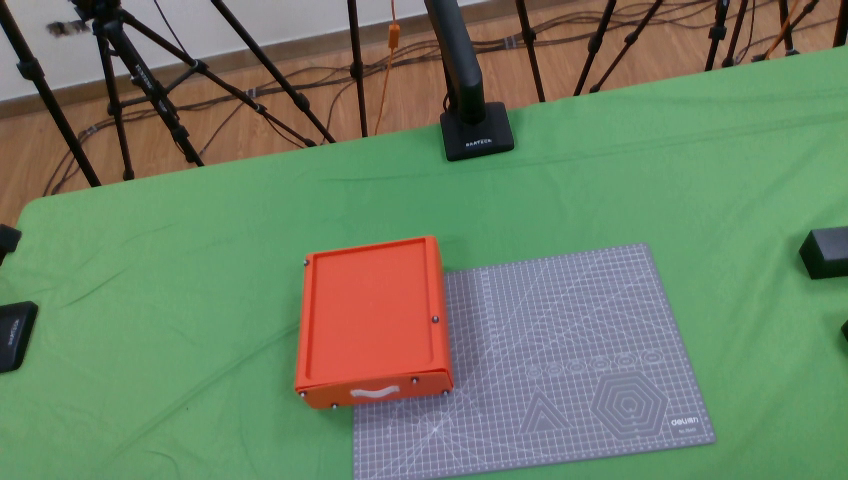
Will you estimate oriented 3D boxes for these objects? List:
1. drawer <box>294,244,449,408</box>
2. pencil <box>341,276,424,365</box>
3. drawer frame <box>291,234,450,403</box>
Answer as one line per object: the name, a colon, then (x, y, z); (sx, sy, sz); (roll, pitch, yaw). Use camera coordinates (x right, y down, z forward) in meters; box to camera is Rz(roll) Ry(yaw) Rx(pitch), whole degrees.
drawer: (-0.072, 0.117, 0.847); (0.194, 0.074, 0.209); (-9, 54, 6)
pencil: (-0.062, 0.115, 0.877); (0.012, 0.012, 0.192); (-39, 60, -15)
drawer frame: (-0.074, 0.112, 0.849); (0.201, 0.083, 0.211); (-10, 54, 6)
